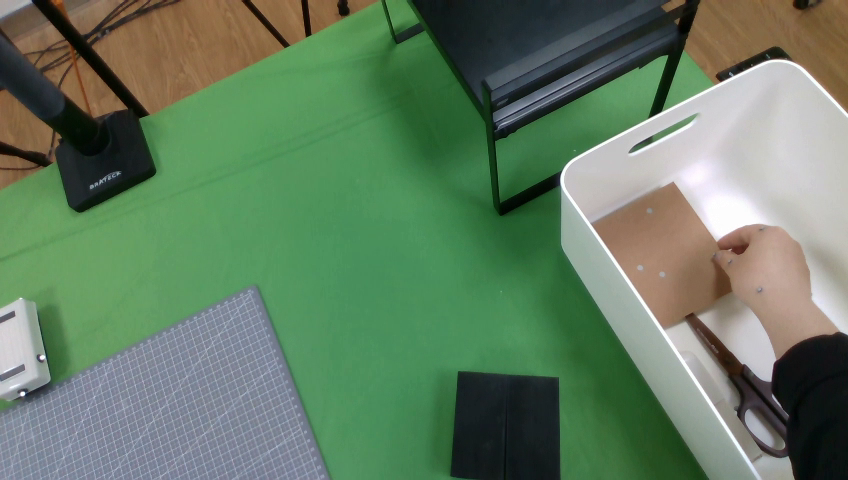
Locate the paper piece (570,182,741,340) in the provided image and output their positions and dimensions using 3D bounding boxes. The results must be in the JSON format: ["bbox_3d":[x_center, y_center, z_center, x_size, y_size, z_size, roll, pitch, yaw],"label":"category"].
[{"bbox_3d":[0.251,0.022,0.676,0.136,0.009,0.137,-33,62,21],"label":"paper piece"}]

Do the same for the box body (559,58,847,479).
[{"bbox_3d":[0.318,0.050,0.567,0.254,0.161,0.361,-27,67,-2],"label":"box body"}]

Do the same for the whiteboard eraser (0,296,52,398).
[{"bbox_3d":[-0.482,0.126,0.722,0.055,0.042,0.111,-28,67,-2],"label":"whiteboard eraser"}]

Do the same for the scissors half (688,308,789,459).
[{"bbox_3d":[0.304,0.134,0.610,0.040,0.013,0.173,-20,62,2],"label":"scissors half"}]

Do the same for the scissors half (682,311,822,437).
[{"bbox_3d":[0.323,0.124,0.612,0.040,0.013,0.173,-37,64,-14],"label":"scissors half"}]

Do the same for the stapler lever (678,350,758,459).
[{"bbox_3d":[0.273,0.159,0.575,0.027,0.040,0.117,-32,73,2],"label":"stapler lever"}]

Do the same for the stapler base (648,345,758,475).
[{"bbox_3d":[0.276,0.165,0.600,0.041,0.024,0.129,-32,73,2],"label":"stapler base"}]

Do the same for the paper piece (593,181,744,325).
[{"bbox_3d":[0.246,0.020,0.656,0.135,0.004,0.134,-28,71,3],"label":"paper piece"}]
